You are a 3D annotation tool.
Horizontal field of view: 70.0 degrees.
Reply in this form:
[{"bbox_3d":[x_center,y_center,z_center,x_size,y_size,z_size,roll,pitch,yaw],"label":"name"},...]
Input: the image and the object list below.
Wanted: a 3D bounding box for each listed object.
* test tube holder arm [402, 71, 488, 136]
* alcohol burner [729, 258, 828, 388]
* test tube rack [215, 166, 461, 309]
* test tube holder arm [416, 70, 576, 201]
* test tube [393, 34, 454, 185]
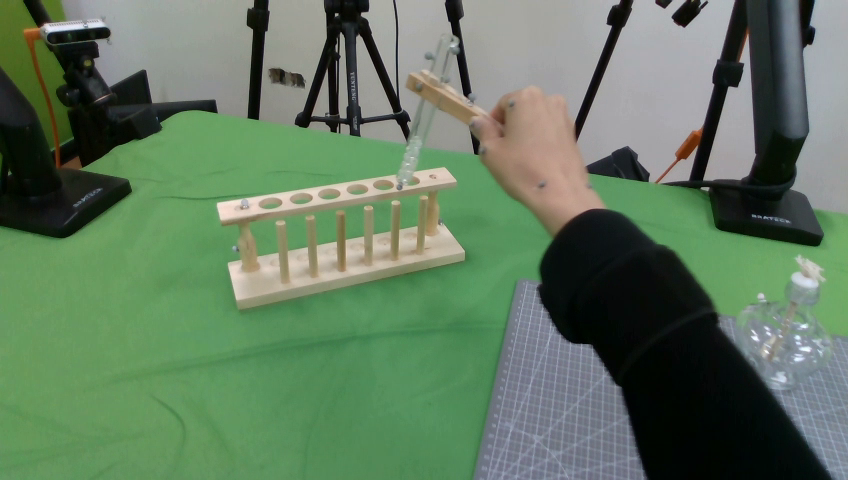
[{"bbox_3d":[0.018,-0.114,0.502,0.087,0.015,0.010,36,37,17],"label":"test tube holder arm"},{"bbox_3d":[0.307,0.067,0.517,0.078,0.120,0.077,1,33,0],"label":"alcohol burner"},{"bbox_3d":[-0.082,-0.007,0.629,0.243,0.086,0.066,-12,37,-20],"label":"test tube rack"},{"bbox_3d":[0.053,-0.089,0.490,0.177,0.015,0.013,42,40,24],"label":"test tube holder arm"},{"bbox_3d":[-0.003,-0.108,0.532,0.017,0.151,0.017,12,41,-10],"label":"test tube"}]
